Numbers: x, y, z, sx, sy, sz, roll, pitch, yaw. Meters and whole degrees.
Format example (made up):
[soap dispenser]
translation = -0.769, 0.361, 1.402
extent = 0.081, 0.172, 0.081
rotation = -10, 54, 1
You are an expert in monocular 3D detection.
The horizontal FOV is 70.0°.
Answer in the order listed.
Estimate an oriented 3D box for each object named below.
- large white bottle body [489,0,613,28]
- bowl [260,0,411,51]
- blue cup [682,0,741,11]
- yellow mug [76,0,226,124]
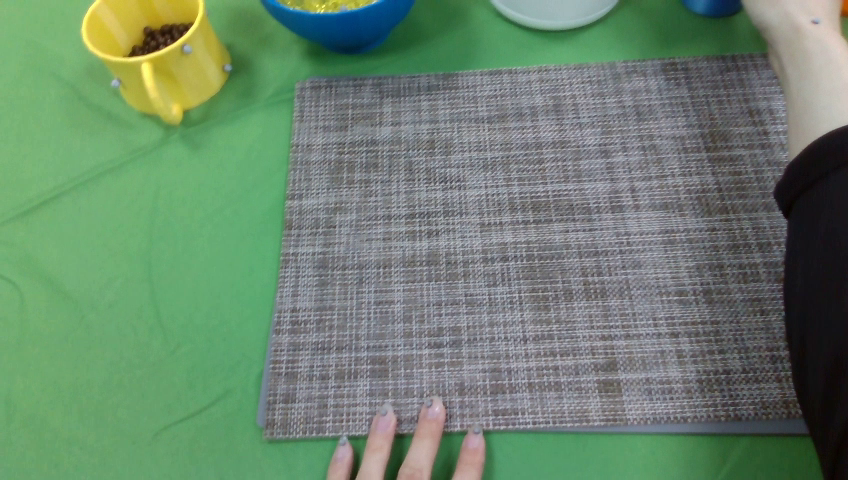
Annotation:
[large white bottle body]
translation = 0.111, -0.283, 0.484
extent = 0.130, 0.186, 0.129
rotation = -1, 63, 3
[bowl]
translation = -0.071, -0.219, 0.523
extent = 0.151, 0.077, 0.150
rotation = -1, 63, 3
[blue cup]
translation = 0.253, -0.250, 0.503
extent = 0.092, 0.101, 0.092
rotation = -2, 63, 5
[yellow mug]
translation = -0.223, -0.154, 0.506
extent = 0.100, 0.064, 0.129
rotation = -14, 64, -4
